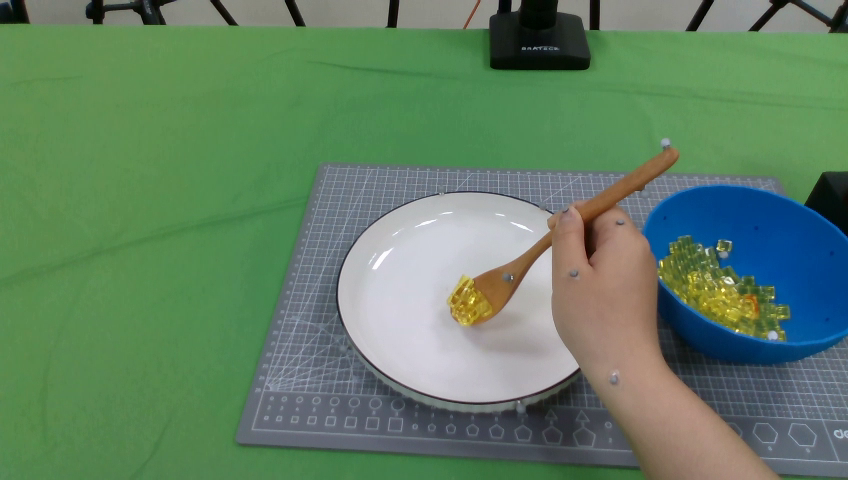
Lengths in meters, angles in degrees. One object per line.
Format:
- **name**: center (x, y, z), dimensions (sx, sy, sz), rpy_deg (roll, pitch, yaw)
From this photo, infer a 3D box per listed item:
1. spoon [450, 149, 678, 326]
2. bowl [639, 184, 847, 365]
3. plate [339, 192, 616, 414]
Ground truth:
- **spoon**: center (0.087, 0.003, 0.410), dimensions (0.022, 0.194, 0.041), rpy_deg (25, 39, -30)
- **bowl**: center (0.227, 0.037, 0.445), dimensions (0.151, 0.077, 0.150), rpy_deg (-1, 46, 1)
- **plate**: center (0.040, 0.044, 0.470), dimensions (0.208, 0.039, 0.205), rpy_deg (-1, 46, 1)
